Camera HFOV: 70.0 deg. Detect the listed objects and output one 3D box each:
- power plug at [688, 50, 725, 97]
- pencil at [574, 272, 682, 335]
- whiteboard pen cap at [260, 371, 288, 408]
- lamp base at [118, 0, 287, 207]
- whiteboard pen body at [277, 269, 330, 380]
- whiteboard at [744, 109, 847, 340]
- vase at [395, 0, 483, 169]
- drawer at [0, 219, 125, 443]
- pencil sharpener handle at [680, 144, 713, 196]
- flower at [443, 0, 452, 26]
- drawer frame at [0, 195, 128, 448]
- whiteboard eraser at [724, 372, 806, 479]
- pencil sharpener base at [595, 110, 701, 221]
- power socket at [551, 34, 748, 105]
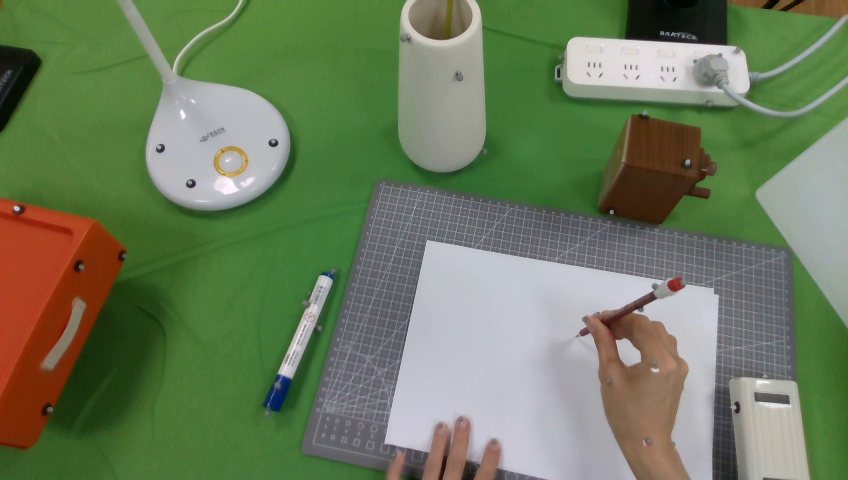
[{"bbox_3d":[0.314,-0.181,0.681,0.035,0.053,0.072,14,69,8],"label":"power plug"},{"bbox_3d":[0.163,0.060,0.512,0.012,0.195,0.012,3,69,-7],"label":"pencil"},{"bbox_3d":[-0.141,0.141,0.574,0.018,0.018,0.033,15,62,8],"label":"whiteboard pen cap"},{"bbox_3d":[-0.247,-0.149,0.621,0.160,0.181,0.178,-42,69,-16],"label":"lamp base"},{"bbox_3d":[-0.123,0.091,0.600,0.017,0.017,0.140,14,64,8],"label":"whiteboard pen body"},{"bbox_3d":[0.498,-0.053,0.533,0.144,0.307,0.215,-12,64,-25],"label":"whiteboard"},{"bbox_3d":[0.013,-0.156,0.610,0.098,0.201,0.097,-1,65,2],"label":"vase"},{"bbox_3d":[-0.413,0.056,0.540,0.211,0.074,0.193,13,68,6],"label":"drawer"},{"bbox_3d":[0.276,-0.066,0.604,0.030,0.068,0.036,12,66,7],"label":"pencil sharpener handle"},{"bbox_3d":[0.021,-0.204,0.541,0.038,0.365,0.043,-2,48,-7],"label":"flower"},{"bbox_3d":[-0.420,0.057,0.542,0.213,0.083,0.200,13,68,4],"label":"drawer frame"},{"bbox_3d":[0.304,0.177,0.543,0.055,0.042,0.112,5,67,2],"label":"whiteboard eraser"},{"bbox_3d":[0.227,-0.072,0.620,0.076,0.108,0.061,12,67,6],"label":"pencil sharpener base"},{"bbox_3d":[0.267,-0.201,0.716,0.227,0.033,0.071,5,67,3],"label":"power socket"}]
